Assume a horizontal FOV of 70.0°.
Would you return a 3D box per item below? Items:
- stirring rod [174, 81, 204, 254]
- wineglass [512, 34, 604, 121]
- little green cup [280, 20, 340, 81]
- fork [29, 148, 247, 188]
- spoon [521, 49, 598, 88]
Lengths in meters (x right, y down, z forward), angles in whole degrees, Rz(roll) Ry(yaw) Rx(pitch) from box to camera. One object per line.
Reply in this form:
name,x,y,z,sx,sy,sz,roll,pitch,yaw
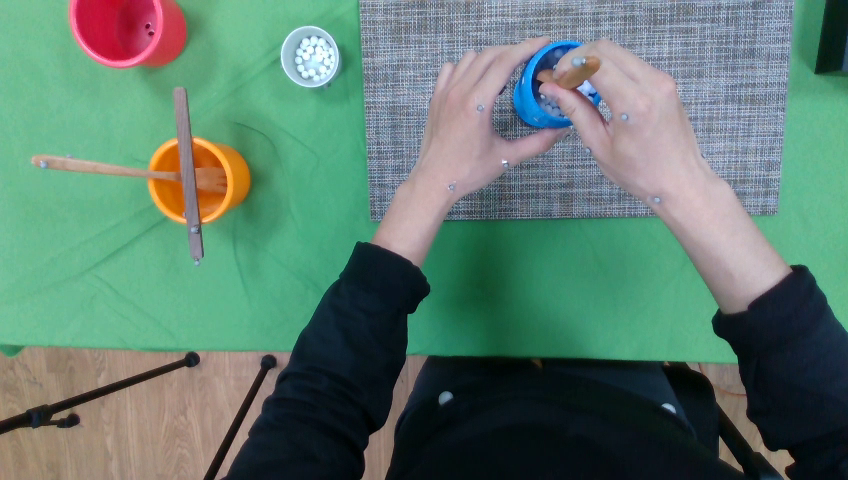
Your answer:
stirring rod,-0.242,-0.072,0.622,0.014,0.006,0.176,-1,100,4
wineglass,0.120,-0.147,0.570,0.073,0.172,0.074,1,100,4
little green cup,-0.119,-0.200,0.647,0.061,0.038,0.062,1,101,4
fork,-0.284,-0.075,0.627,0.209,0.018,0.028,3,112,-41
spoon,0.102,-0.125,0.452,0.041,0.193,0.022,15,104,-2
